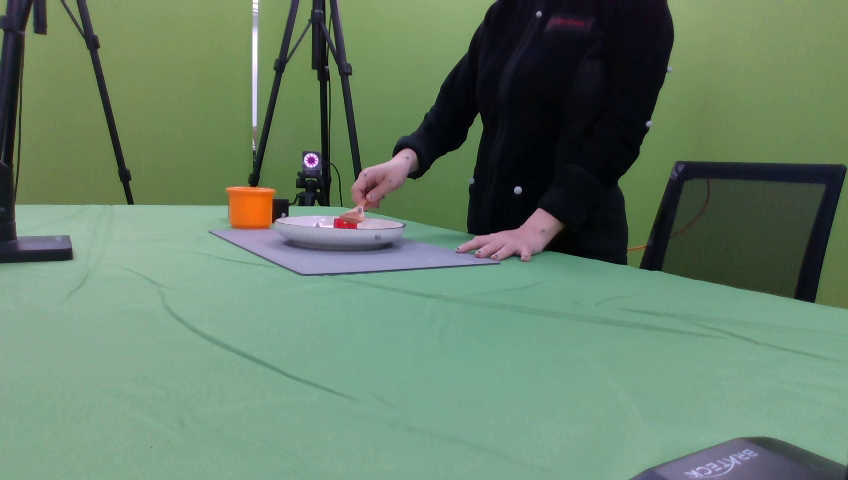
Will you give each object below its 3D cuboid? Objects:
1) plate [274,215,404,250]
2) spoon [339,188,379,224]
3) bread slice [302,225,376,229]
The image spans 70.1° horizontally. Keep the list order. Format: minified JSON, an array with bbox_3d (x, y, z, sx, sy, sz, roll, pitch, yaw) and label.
[{"bbox_3d":[-0.136,-0.013,0.981,0.209,0.038,0.209,2,7,0],"label":"plate"},{"bbox_3d":[-0.103,-0.062,1.036,0.041,0.021,0.194,3,24,10],"label":"spoon"},{"bbox_3d":[-0.133,-0.011,0.974,0.135,0.018,0.106,-2,8,-33],"label":"bread slice"}]
